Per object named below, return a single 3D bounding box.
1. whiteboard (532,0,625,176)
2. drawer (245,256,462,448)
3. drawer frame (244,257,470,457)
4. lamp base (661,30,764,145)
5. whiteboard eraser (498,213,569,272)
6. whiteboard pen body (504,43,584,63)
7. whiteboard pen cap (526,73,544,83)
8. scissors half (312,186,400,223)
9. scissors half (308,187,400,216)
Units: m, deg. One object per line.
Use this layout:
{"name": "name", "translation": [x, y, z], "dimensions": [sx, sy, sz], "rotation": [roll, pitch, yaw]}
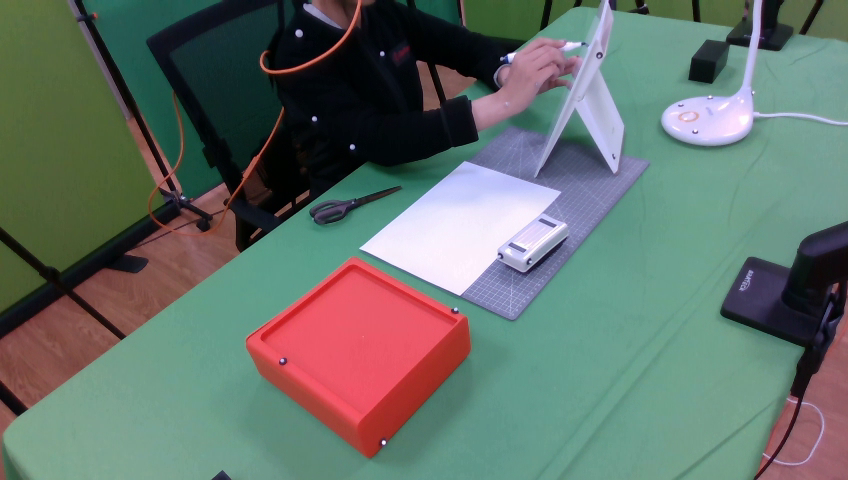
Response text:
{"name": "whiteboard", "translation": [0.320, -0.259, 1.050], "dimensions": [0.144, 0.306, 0.217], "rotation": [21, 45, 5]}
{"name": "drawer", "translation": [-0.089, 0.136, 0.792], "dimensions": [0.210, 0.073, 0.195], "rotation": [26, 51, 34]}
{"name": "drawer frame", "translation": [-0.084, 0.138, 0.788], "dimensions": [0.212, 0.083, 0.202], "rotation": [25, 50, 33]}
{"name": "lamp base", "translation": [0.535, -0.287, 1.096], "dimensions": [0.179, 0.181, 0.159], "rotation": [-10, 40, -4]}
{"name": "whiteboard eraser", "translation": [0.168, 0.006, 0.924], "dimensions": [0.113, 0.042, 0.055], "rotation": [-36, 48, -28]}
{"name": "whiteboard pen body", "translation": [0.211, -0.330, 1.063], "dimensions": [0.140, 0.017, 0.017], "rotation": [-7, 40, 10]}
{"name": "whiteboard pen cap", "translation": [0.213, -0.312, 1.163], "dimensions": [0.033, 0.018, 0.018], "rotation": [-3, 33, -34]}
{"name": "scissors half", "translation": [-0.118, -0.066, 1.088], "dimensions": [0.176, 0.013, 0.040], "rotation": [-25, 38, -24]}
{"name": "scissors half", "translation": [-0.126, -0.075, 1.104], "dimensions": [0.176, 0.013, 0.039], "rotation": [-15, 29, -10]}
